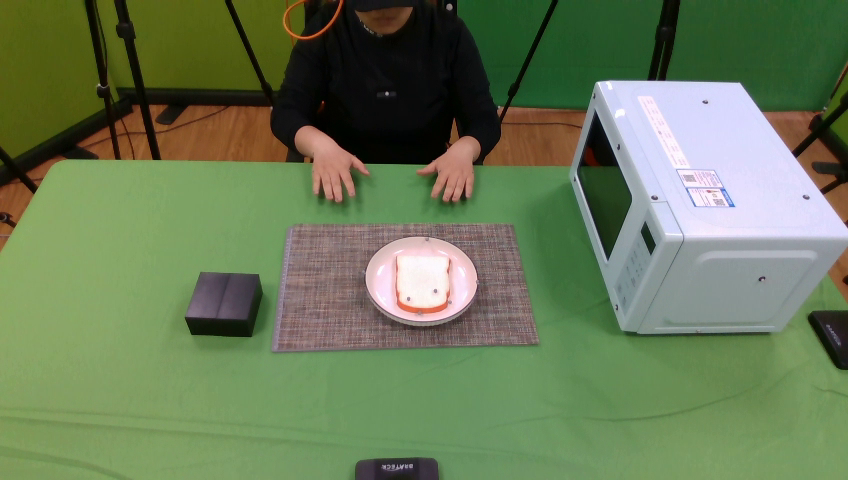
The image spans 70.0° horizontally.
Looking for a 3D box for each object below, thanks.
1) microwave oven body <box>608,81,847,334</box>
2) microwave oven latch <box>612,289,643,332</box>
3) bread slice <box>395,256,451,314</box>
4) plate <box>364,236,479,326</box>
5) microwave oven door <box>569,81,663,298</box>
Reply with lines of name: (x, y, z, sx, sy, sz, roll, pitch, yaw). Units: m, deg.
microwave oven body: (0.501, -0.070, 1.132, 0.326, 0.261, 0.438, -1, 45, -4)
microwave oven latch: (0.357, 0.124, 1.068, 0.030, 0.029, 0.078, 0, 45, -3)
bread slice: (-0.001, 0.079, 1.109, 0.105, 0.019, 0.130, 1, 45, -2)
plate: (-0.004, 0.078, 1.107, 0.209, 0.038, 0.208, 2, 46, -2)
microwave oven door: (0.353, -0.104, 1.147, 0.039, 0.245, 0.353, 0, 46, -4)
